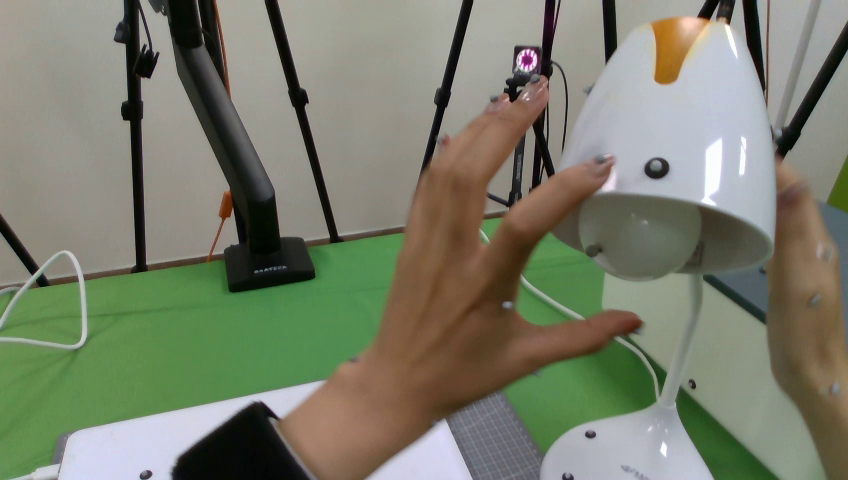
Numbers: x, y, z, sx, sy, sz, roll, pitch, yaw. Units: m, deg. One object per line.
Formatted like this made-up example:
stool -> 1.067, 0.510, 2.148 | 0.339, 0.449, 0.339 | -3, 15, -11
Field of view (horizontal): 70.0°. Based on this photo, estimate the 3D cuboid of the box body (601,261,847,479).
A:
box body -> 0.397, 0.083, 0.673 | 0.255, 0.161, 0.360 | -9, 30, -18

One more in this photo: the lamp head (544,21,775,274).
lamp head -> 0.132, -0.051, 0.328 | 0.112, 0.113, 0.122 | 11, 69, 18

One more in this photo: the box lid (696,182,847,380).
box lid -> 0.398, 0.016, 0.639 | 0.264, 0.015, 0.367 | -8, 30, -18

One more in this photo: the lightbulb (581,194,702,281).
lightbulb -> 0.121, -0.031, 0.319 | 0.059, 0.107, 0.059 | 20, -7, 3

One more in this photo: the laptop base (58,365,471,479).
laptop base -> -0.140, 0.224, 0.543 | 0.355, 0.023, 0.233 | -8, 33, -16

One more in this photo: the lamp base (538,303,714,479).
lamp base -> 0.192, 0.150, 0.519 | 0.159, 0.181, 0.179 | 17, 29, 26

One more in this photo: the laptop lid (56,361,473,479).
laptop lid -> -0.139, 0.215, 0.536 | 0.358, 0.013, 0.239 | -7, 32, -15
